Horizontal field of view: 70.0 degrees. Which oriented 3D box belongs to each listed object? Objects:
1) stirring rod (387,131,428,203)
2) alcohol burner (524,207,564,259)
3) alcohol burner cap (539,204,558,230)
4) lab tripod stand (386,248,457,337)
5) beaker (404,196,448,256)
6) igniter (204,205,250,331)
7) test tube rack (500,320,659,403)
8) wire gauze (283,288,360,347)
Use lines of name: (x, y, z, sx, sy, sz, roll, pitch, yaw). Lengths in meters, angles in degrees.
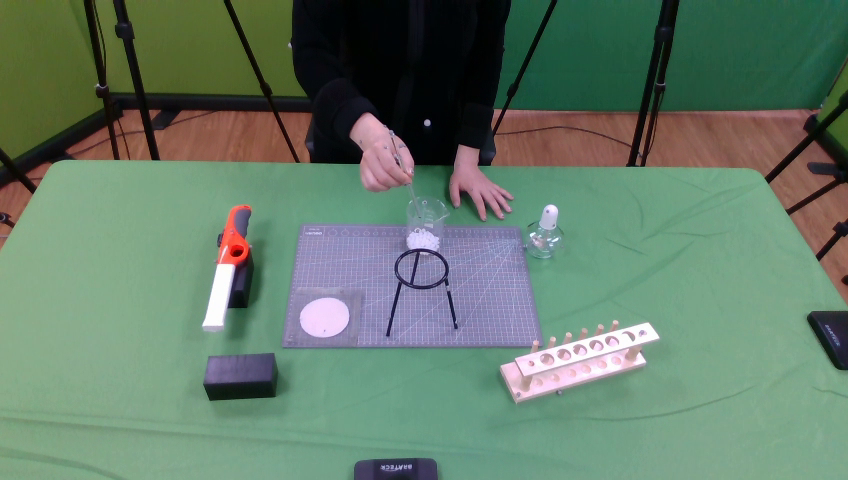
stirring rod: (-0.023, -0.105, 0.907, 0.014, 0.177, 0.006, 20, 69, 26)
alcohol burner: (0.236, -0.020, 1.174, 0.078, 0.120, 0.077, 1, 48, -1)
alcohol burner cap: (0.239, -0.045, 1.148, 0.034, 0.048, 0.033, 2, 43, -1)
lab tripod stand: (-0.010, 0.087, 1.032, 0.148, 0.132, 0.147, 1, 45, -1)
beaker: (0.001, -0.024, 1.164, 0.084, 0.101, 0.073, 6, 46, 0)
igniter: (-0.345, 0.039, 1.065, 0.057, 0.025, 0.274, 1, 48, -6)
test tube rack: (0.252, 0.187, 0.994, 0.243, 0.085, 0.066, -12, 48, -15)
wire gauze: (-0.178, 0.132, 1.063, 0.125, 0.011, 0.120, 2, 46, 1)
